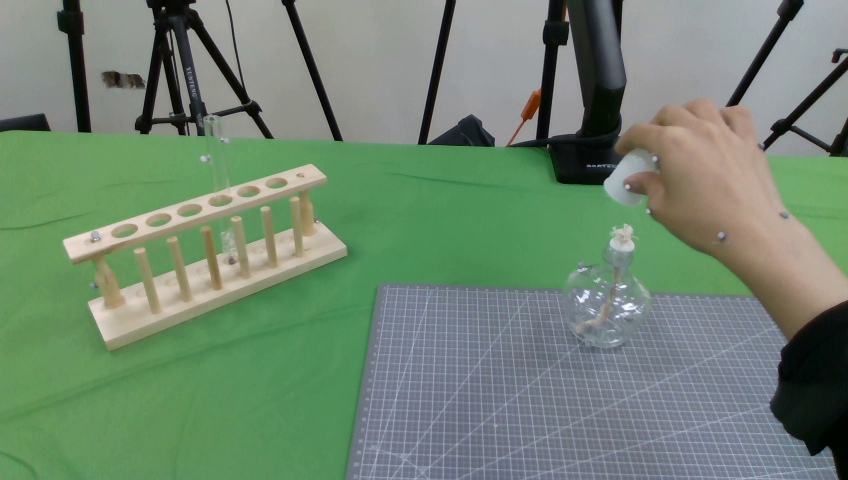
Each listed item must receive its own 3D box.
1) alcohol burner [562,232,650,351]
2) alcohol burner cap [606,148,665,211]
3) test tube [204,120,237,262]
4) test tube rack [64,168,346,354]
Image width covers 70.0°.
[{"bbox_3d":[0.164,0.041,0.535,0.078,0.120,0.077,1,37,-1],"label":"alcohol burner"},{"bbox_3d":[0.164,-0.049,0.462,0.034,0.048,0.033,11,47,-11],"label":"alcohol burner cap"},{"bbox_3d":[-0.195,-0.043,0.585,0.017,0.151,0.017,3,31,-2],"label":"test tube"},{"bbox_3d":[-0.201,0.012,0.593,0.243,0.086,0.066,-23,42,-29],"label":"test tube rack"}]
